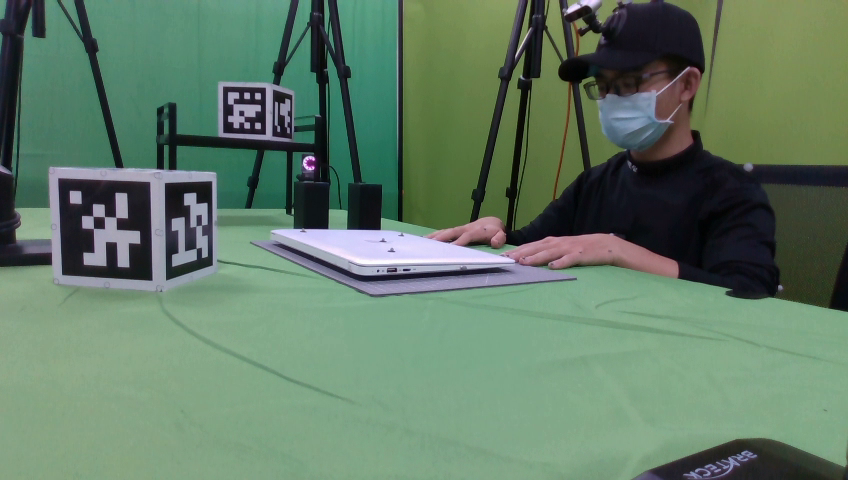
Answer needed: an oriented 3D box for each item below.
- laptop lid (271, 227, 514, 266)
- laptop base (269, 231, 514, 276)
[{"bbox_3d":[-0.063,0.005,0.893,0.243,0.013,0.355,1,7,-30],"label":"laptop lid"},{"bbox_3d":[-0.066,0.017,0.893,0.237,0.023,0.352,1,6,-32],"label":"laptop base"}]
